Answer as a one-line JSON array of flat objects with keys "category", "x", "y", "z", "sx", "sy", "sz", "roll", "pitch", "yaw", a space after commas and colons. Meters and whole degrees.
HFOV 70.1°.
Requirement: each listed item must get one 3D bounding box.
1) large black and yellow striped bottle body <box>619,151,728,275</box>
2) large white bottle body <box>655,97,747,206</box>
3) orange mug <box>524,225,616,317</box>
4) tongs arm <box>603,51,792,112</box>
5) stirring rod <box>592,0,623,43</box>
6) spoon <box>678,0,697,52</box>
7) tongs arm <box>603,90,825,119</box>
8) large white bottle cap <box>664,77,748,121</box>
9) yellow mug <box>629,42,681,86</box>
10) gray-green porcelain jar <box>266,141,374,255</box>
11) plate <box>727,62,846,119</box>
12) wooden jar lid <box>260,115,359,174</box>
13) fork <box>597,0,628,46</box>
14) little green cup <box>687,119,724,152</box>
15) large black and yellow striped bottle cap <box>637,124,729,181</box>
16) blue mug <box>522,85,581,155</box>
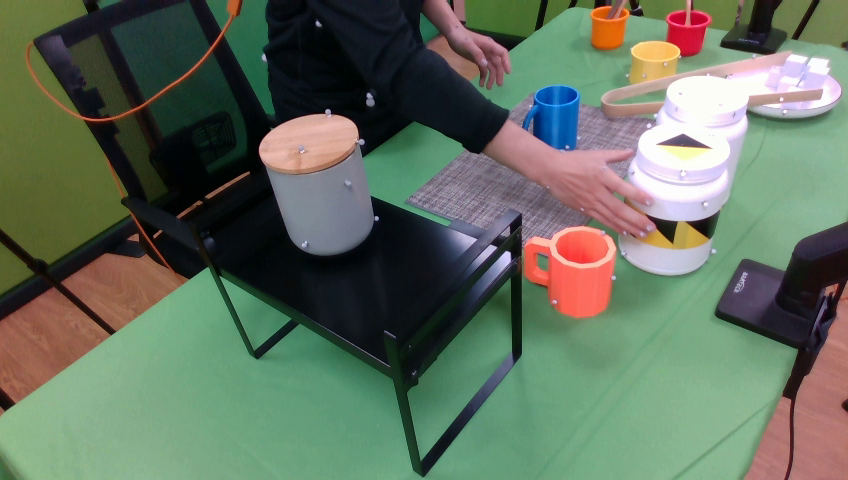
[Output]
[{"category": "large black and yellow striped bottle body", "x": 0.354, "y": -0.056, "z": 0.865, "sx": 0.131, "sy": 0.185, "sz": 0.130, "roll": -4, "pitch": 41, "yaw": 4}, {"category": "large white bottle body", "x": 0.431, "y": -0.148, "z": 0.959, "sx": 0.130, "sy": 0.185, "sz": 0.130, "roll": -4, "pitch": 41, "yaw": 4}, {"category": "orange mug", "x": 0.200, "y": 0.038, "z": 0.844, "sx": 0.125, "sy": 0.101, "sz": 0.083, "roll": 18, "pitch": 47, "yaw": 20}, {"category": "tongs arm", "x": 0.552, "y": -0.320, "z": 1.224, "sx": 0.384, "sy": 0.027, "sz": 0.050, "roll": -11, "pitch": 44, "yaw": 7}, {"category": "stirring rod", "x": 0.460, "y": -0.557, "z": 1.461, "sx": 0.014, "sy": 0.176, "sz": 0.006, "roll": 35, "pitch": 11, "yaw": 22}, {"category": "spoon", "x": 0.614, "y": -0.526, "z": 1.402, "sx": 0.041, "sy": 0.022, "sz": 0.193, "roll": 3, "pitch": 86, "yaw": 11}, {"category": "tongs arm", "x": 0.546, "y": -0.262, "z": 1.163, "sx": 0.386, "sy": 0.028, "sz": 0.028, "roll": -1, "pitch": 49, "yaw": 18}, {"category": "large white bottle cap", "x": 0.421, "y": -0.212, "z": 0.905, "sx": 0.115, "sy": 0.018, "sz": 0.114, "roll": -4, "pitch": 40, "yaw": 4}, {"category": "yellow mug", "x": 0.495, "y": -0.389, "z": 1.321, "sx": 0.100, "sy": 0.064, "sz": 0.130, "roll": -14, "pitch": 40, "yaw": -6}, {"category": "gray-green porcelain jar", "x": -0.117, "y": -0.054, "z": 0.703, "sx": 0.106, "sy": 0.127, "sz": 0.105, "roll": -4, "pitch": 40, "yaw": 4}, {"category": "plate", "x": 0.710, "y": -0.292, "z": 1.198, "sx": 0.207, "sy": 0.039, "sz": 0.206, "roll": -4, "pitch": 40, "yaw": 4}, {"category": "wooden jar lid", "x": -0.124, "y": -0.101, "z": 0.662, "sx": 0.108, "sy": 0.021, "sz": 0.108, "roll": -4, "pitch": 41, "yaw": 4}, {"category": "fork", "x": 0.479, "y": -0.558, "z": 1.455, "sx": 0.028, "sy": 0.019, "sz": 0.207, "roll": 35, "pitch": 100, "yaw": 38}, {"category": "little green cup", "x": 0.514, "y": -0.191, "z": 1.109, "sx": 0.061, "sy": 0.039, "sz": 0.061, "roll": -5, "pitch": 40, "yaw": 5}, {"category": "large black and yellow striped bottle cap", "x": 0.346, "y": -0.119, "z": 0.810, "sx": 0.115, "sy": 0.019, "sz": 0.114, "roll": -5, "pitch": 41, "yaw": 5}, {"category": "blue mug", "x": 0.233, "y": -0.218, "z": 1.127, "sx": 0.117, "sy": 0.106, "sz": 0.081, "roll": -23, "pitch": 43, "yaw": -16}]
